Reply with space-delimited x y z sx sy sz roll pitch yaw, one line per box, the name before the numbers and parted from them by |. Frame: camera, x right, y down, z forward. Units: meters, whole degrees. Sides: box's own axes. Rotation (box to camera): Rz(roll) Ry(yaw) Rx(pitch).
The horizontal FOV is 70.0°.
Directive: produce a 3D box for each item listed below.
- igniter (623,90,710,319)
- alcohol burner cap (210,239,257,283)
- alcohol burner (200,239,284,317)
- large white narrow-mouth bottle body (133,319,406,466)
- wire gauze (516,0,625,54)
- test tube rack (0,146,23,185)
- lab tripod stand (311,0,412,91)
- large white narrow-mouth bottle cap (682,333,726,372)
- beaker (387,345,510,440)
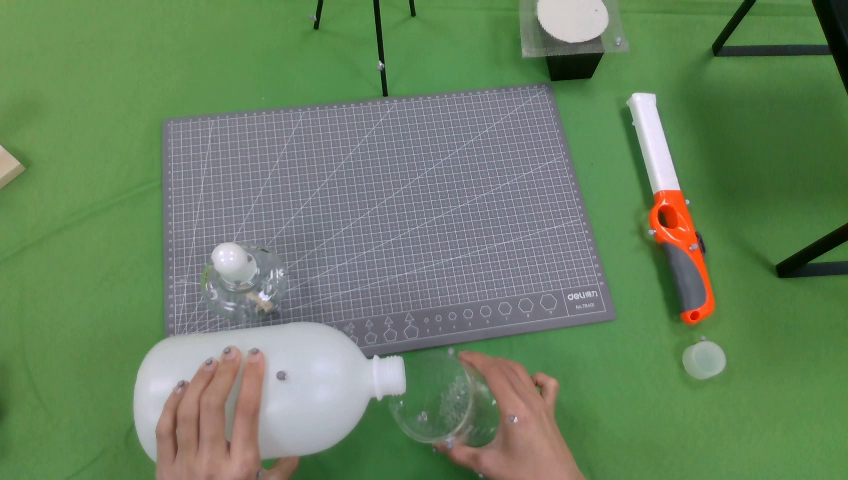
igniter | 0.267 -0.047 0.673 0.057 0.025 0.274 -1 68 -15
alcohol burner cap | -0.168 0.017 0.525 0.034 0.048 0.033 0 74 -1
alcohol burner | -0.170 0.029 0.559 0.078 0.120 0.077 2 67 -5
large white narrow-mouth bottle body | -0.112 0.114 0.474 0.195 0.102 0.101 -7 69 2
wire gauze | 0.167 -0.269 0.710 0.121 0.011 0.124 0 68 -4
test tube rack | -0.525 -0.030 0.572 0.066 0.085 0.242 39 71 11
lab tripod stand | -0.061 -0.264 0.675 0.148 0.132 0.147 2 69 -5
large white narrow-mouth bottle cap | 0.284 0.114 0.616 0.038 0.024 0.037 2 68 -3
beaker | 0.026 0.139 0.536 0.084 0.101 0.073 -18 64 24
